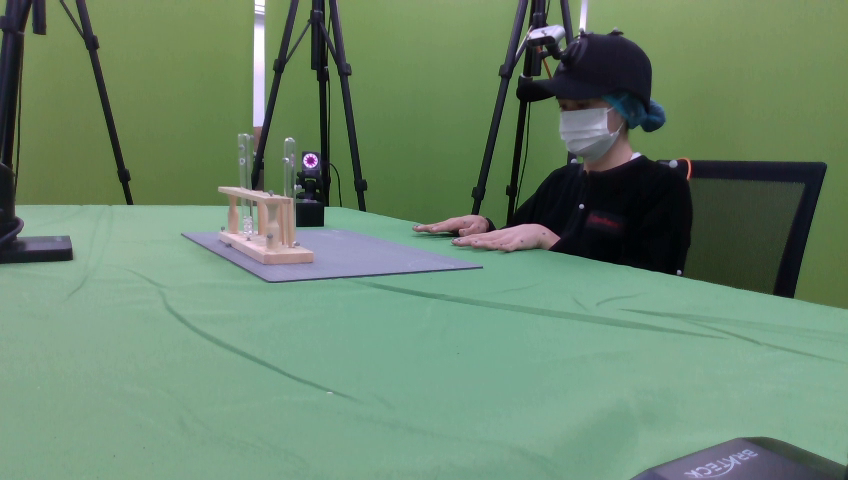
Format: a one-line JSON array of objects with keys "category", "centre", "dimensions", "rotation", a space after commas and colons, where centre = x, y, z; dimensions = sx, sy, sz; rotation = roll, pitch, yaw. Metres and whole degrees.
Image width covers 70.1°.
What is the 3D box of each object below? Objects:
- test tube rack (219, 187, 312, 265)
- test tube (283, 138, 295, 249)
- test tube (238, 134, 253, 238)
[{"category": "test tube rack", "centre": [-0.235, -0.027, 0.872], "dimensions": [0.067, 0.085, 0.241], "rotation": [-2, 8, -31]}, {"category": "test tube", "centre": [-0.182, -0.062, 0.815], "dimensions": [0.017, 0.150, 0.017], "rotation": [2, 8, 0]}, {"category": "test tube", "centre": [-0.258, -0.078, 0.873], "dimensions": [0.017, 0.150, 0.017], "rotation": [-1, 5, 0]}]
